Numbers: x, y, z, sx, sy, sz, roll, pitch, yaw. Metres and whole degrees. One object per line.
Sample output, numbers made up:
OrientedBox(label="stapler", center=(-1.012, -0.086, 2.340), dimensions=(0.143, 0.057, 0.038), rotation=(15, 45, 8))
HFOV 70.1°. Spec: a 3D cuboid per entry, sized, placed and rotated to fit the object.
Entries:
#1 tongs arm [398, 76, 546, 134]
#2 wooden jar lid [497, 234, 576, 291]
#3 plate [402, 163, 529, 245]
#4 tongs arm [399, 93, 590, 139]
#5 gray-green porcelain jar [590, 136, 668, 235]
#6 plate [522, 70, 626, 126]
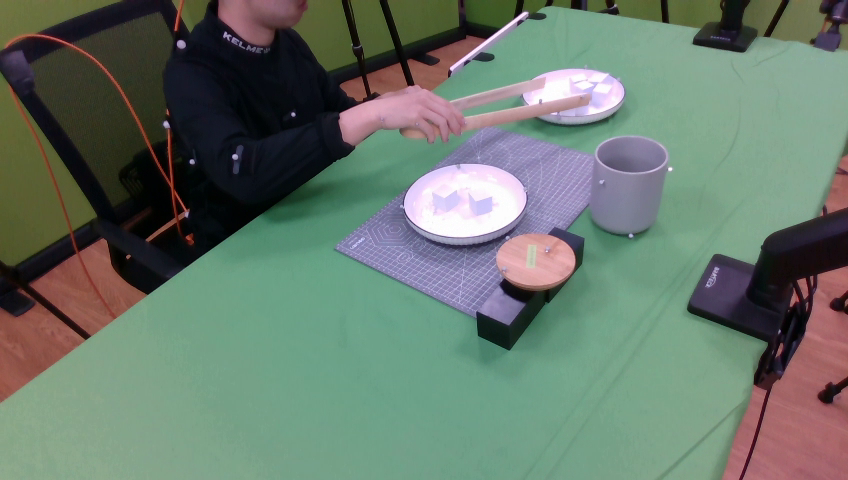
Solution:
OrientedBox(label="tongs arm", center=(0.102, -0.265, 1.159), dimensions=(0.390, 0.028, 0.028), rotation=(-23, 44, -31))
OrientedBox(label="wooden jar lid", center=(0.155, 0.032, 0.834), dimensions=(0.108, 0.021, 0.108), rotation=(-5, 40, 4))
OrientedBox(label="plate", center=(0.069, -0.056, 1.008), dimensions=(0.209, 0.038, 0.208), rotation=(-4, 40, 4))
OrientedBox(label="tongs arm", center=(0.138, -0.233, 1.109), dimensions=(0.387, 0.026, 0.050), rotation=(-16, 38, -23))
OrientedBox(label="gray-green porcelain jar", center=(0.314, -0.080, 0.937), dimensions=(0.106, 0.127, 0.105), rotation=(-4, 41, 4))
OrientedBox(label="plate", center=(0.308, -0.289, 1.250), dimensions=(0.207, 0.039, 0.206), rotation=(-4, 40, 4))
